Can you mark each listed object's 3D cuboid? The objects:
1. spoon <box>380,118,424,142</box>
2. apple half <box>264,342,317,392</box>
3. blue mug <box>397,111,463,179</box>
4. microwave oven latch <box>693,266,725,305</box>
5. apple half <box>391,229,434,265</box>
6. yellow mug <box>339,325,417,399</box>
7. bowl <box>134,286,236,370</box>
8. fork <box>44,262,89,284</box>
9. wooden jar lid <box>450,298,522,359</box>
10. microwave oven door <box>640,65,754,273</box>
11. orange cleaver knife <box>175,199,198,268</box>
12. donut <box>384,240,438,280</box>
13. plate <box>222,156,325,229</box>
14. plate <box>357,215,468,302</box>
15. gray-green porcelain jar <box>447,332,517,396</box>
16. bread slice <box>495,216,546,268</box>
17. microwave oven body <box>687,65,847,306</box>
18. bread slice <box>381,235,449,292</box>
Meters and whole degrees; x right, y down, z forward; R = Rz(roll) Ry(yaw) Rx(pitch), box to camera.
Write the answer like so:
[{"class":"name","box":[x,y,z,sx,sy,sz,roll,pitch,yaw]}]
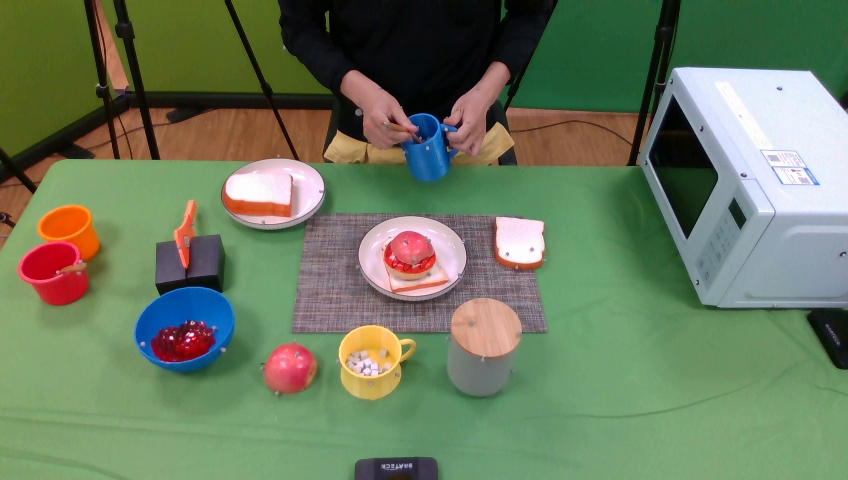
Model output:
[{"class":"spoon","box":[-0.025,-0.195,1.103,0.041,0.194,0.021,34,99,28]},{"class":"apple half","box":[-0.214,0.198,0.970,0.074,0.053,0.080,19,48,11]},{"class":"blue mug","box":[0.018,-0.184,1.156,0.116,0.106,0.082,-15,55,5]},{"class":"microwave oven latch","box":[0.523,0.082,1.115,0.030,0.029,0.078,3,46,0]},{"class":"apple half","box":[-0.021,0.003,1.085,0.081,0.033,0.081,7,44,-7]},{"class":"yellow mug","box":[-0.072,0.190,0.978,0.131,0.064,0.099,-17,50,-20]},{"class":"bowl","box":[-0.377,0.155,0.981,0.151,0.077,0.150,2,46,-2]},{"class":"fork","box":[-0.598,0.054,1.014,0.207,0.019,0.028,-15,29,45]},{"class":"wooden jar lid","box":[0.093,0.135,0.914,0.108,0.021,0.107,2,48,-3]},{"class":"microwave oven door","box":[0.523,-0.147,1.193,0.039,0.245,0.353,0,47,-3]},{"class":"orange cleaver knife","box":[-0.438,-0.017,1.138,0.012,0.077,0.210,-14,27,-7]},{"class":"donut","box":[-0.025,0.029,1.109,0.099,0.048,0.098,2,46,-2]},{"class":"plate","box":[-0.308,-0.095,1.251,0.209,0.038,0.208,2,46,-2]},{"class":"plate","box":[-0.022,0.037,1.141,0.208,0.039,0.206,2,46,-2]},{"class":"gray-green porcelain jar","box":[0.091,0.178,0.960,0.106,0.127,0.105,2,46,-2]},{"class":"bread slice","box":[0.194,0.002,1.205,0.105,0.019,0.131,5,45,2]},{"class":"microwave oven body","box":[0.669,-0.111,1.176,0.326,0.261,0.439,0,46,-3]},{"class":"bread slice","box":[-0.027,0.039,1.140,0.107,0.018,0.133,-12,49,-16]}]
